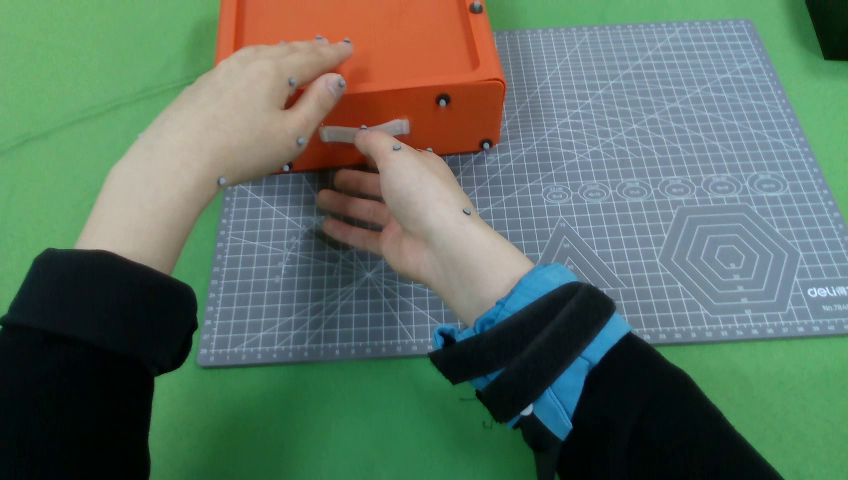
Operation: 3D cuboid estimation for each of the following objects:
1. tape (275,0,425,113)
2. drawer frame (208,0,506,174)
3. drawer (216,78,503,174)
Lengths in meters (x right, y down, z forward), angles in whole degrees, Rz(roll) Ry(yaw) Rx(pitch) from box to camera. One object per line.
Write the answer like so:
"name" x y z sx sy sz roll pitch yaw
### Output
"tape" -0.057 -0.162 0.490 0.117 0.053 0.116 0 60 1
"drawer frame" -0.055 -0.164 0.482 0.202 0.083 0.211 -7 59 -2
"drawer" -0.053 -0.162 0.482 0.194 0.074 0.209 -7 59 -2
